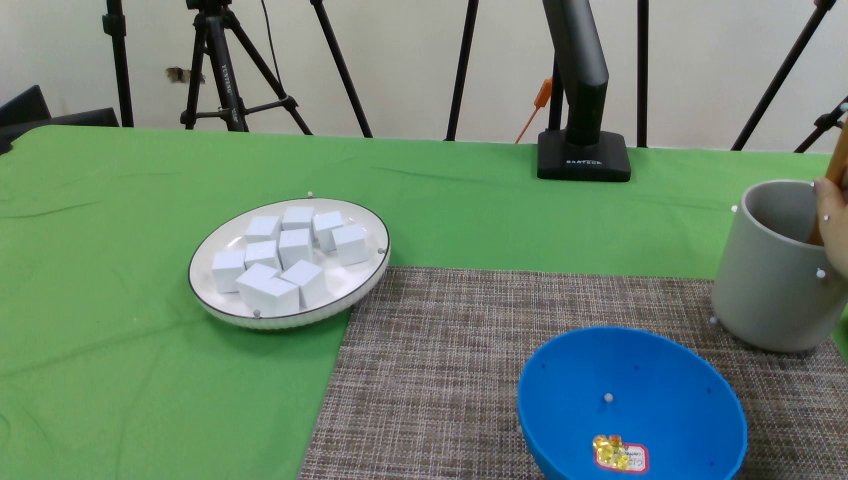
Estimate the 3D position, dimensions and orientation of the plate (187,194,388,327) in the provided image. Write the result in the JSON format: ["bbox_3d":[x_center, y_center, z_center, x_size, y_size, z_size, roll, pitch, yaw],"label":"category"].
[{"bbox_3d":[-0.140,0.021,0.643,0.209,0.038,0.207,-2,37,2],"label":"plate"}]

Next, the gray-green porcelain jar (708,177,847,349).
[{"bbox_3d":[0.316,0.025,0.536,0.106,0.127,0.105,-2,37,2],"label":"gray-green porcelain jar"}]

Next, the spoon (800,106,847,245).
[{"bbox_3d":[0.331,-0.026,0.502,0.021,0.196,0.041,-20,42,0],"label":"spoon"}]

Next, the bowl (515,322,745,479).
[{"bbox_3d":[0.138,0.139,0.434,0.151,0.077,0.150,-1,37,1],"label":"bowl"}]
